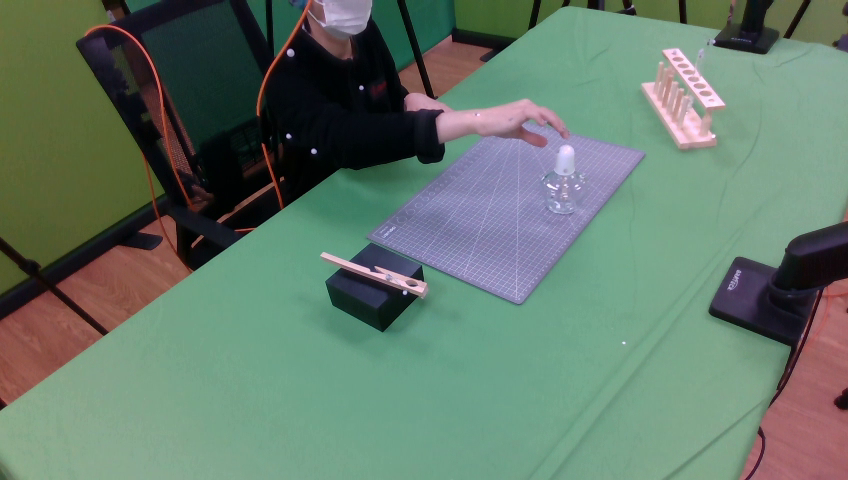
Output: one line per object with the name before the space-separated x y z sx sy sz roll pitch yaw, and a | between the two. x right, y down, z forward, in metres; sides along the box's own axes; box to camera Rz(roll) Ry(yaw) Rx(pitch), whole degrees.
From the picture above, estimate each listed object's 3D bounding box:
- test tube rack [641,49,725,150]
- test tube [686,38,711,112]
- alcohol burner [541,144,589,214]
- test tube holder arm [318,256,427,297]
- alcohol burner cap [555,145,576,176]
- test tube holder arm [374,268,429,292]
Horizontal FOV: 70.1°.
test tube rack | 0.495 -0.279 1.175 0.067 0.085 0.241 -5 41 3
test tube | 0.508 -0.305 1.128 0.017 0.151 0.017 -2 46 3
alcohol burner | 0.229 -0.102 0.983 0.078 0.119 0.077 -6 41 5
test tube holder arm | -0.076 0.050 0.855 0.177 0.015 0.013 13 49 24
alcohol burner cap | 0.225 -0.128 0.958 0.034 0.048 0.033 -4 44 5
test tube holder arm | -0.034 0.056 0.840 0.087 0.015 0.010 14 50 25
